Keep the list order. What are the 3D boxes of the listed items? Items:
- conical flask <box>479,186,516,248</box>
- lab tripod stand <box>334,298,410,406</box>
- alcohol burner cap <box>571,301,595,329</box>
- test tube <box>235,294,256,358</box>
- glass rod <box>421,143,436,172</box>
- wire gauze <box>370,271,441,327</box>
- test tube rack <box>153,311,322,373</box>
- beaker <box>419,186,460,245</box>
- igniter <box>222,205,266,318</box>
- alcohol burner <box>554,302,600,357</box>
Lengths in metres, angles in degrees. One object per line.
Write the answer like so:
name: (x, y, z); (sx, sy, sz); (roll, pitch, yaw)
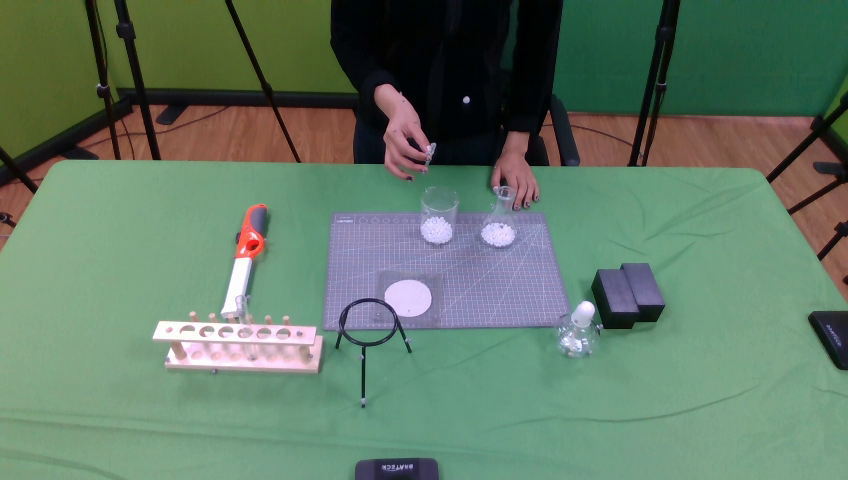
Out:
conical flask: (0.150, -0.049, 1.186); (0.075, 0.122, 0.075); (2, 46, -2)
lab tripod stand: (-0.086, 0.164, 0.957); (0.148, 0.132, 0.147); (3, 44, -2)
alcohol burner cap: (0.262, 0.120, 0.991); (0.034, 0.048, 0.033); (1, 52, -2)
test tube: (-0.274, 0.136, 0.933); (0.017, 0.151, 0.017); (4, 46, -4)
glass rod: (0.006, -0.145, 1.076); (0.008, 0.200, 0.008); (1, 84, -6)
wire gauze: (-0.032, 0.103, 1.104); (0.125, 0.011, 0.121); (4, 46, 3)
test tube rack: (-0.293, 0.160, 0.978); (0.242, 0.085, 0.066); (3, 46, -2)
beaker: (0.025, -0.047, 1.190); (0.074, 0.101, 0.083); (-29, 54, -28)
igniter: (-0.337, 0.031, 1.140); (0.057, 0.025, 0.274); (-6, 46, 3)
alcohol burner: (0.260, 0.143, 1.018); (0.078, 0.119, 0.077); (3, 45, -3)
